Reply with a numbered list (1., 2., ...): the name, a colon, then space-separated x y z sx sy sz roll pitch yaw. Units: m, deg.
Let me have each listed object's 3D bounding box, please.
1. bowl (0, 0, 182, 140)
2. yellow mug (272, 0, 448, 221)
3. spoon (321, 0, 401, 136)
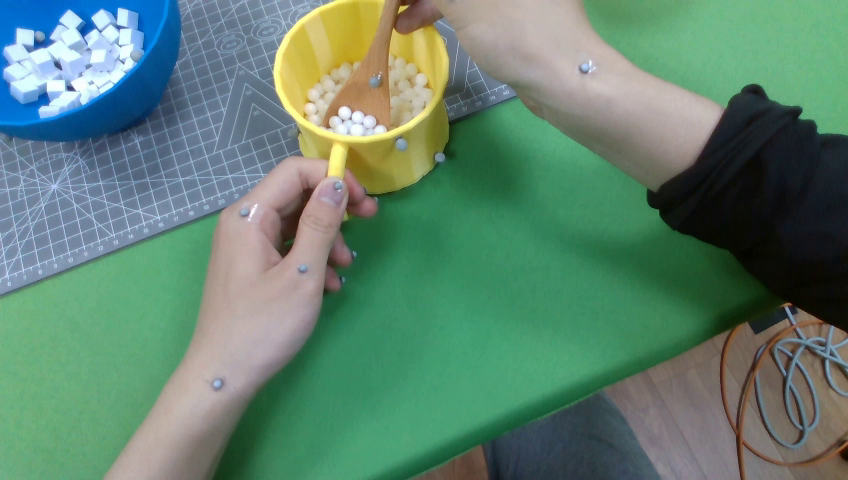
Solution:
1. bowl: -0.218 -0.120 0.386 0.151 0.077 0.150 -1 71 3
2. yellow mug: -0.038 -0.074 0.364 0.100 0.064 0.130 9 70 5
3. spoon: -0.016 -0.130 0.335 0.041 0.021 0.194 27 118 7
